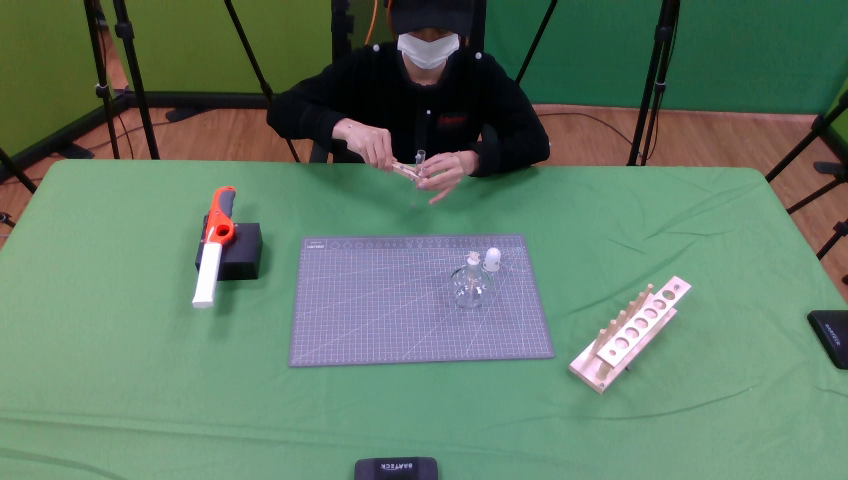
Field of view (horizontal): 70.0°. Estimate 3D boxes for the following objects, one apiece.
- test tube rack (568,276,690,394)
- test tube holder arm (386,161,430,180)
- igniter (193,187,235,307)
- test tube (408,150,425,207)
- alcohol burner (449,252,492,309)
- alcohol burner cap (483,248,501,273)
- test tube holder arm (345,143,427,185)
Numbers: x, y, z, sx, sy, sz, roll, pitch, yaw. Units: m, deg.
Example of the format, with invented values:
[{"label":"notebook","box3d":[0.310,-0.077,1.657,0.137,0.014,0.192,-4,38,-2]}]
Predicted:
[{"label":"test tube rack","box3d":[0.353,0.149,1.039,0.242,0.085,0.066,-34,56,-31]},{"label":"test tube holder arm","box3d":[-0.032,-0.136,1.174,0.088,0.015,0.010,15,47,2]},{"label":"igniter","box3d":[-0.378,0.003,1.096,0.057,0.025,0.274,-1,49,-6]},{"label":"test tube","box3d":[-0.016,-0.117,1.177,0.017,0.151,0.017,5,52,-6]},{"label":"alcohol burner","box3d":[0.084,0.066,1.073,0.078,0.120,0.077,1,44,-1]},{"label":"alcohol burner cap","box3d":[0.130,0.037,1.156,0.034,0.048,0.033,1,46,-1]},{"label":"test tube holder arm","box3d":[-0.075,-0.148,1.176,0.178,0.015,0.013,24,47,10]}]
